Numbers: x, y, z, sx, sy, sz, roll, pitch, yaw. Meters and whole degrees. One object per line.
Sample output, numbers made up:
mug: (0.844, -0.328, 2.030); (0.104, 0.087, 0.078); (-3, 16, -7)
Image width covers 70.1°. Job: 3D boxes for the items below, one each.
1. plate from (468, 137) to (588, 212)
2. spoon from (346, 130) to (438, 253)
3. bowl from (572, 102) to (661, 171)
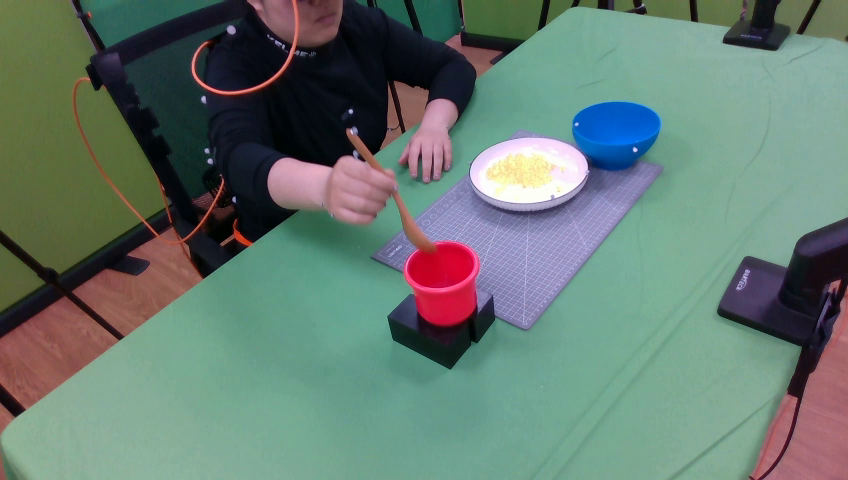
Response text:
plate: (0.182, -0.112, 1.064); (0.207, 0.039, 0.206); (-5, 40, 5)
spoon: (-0.037, -0.054, 0.729); (0.022, 0.195, 0.041); (-44, 29, -25)
bowl: (0.340, -0.177, 1.079); (0.151, 0.077, 0.150); (-5, 40, 5)
